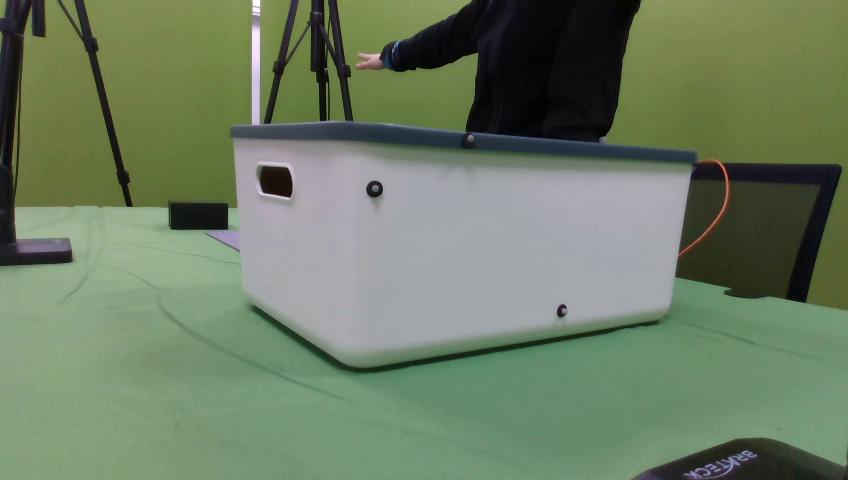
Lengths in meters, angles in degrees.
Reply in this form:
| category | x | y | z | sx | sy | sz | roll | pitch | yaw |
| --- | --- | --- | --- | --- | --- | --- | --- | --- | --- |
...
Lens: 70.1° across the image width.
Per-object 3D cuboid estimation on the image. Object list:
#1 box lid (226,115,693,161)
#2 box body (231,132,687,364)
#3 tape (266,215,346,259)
| category | x | y | z | sx | sy | sz | roll | pitch | yaw |
| --- | --- | --- | --- | --- | --- | --- | --- | --- | --- |
| box lid | 0.031 | -0.086 | 0.554 | 0.373 | 0.015 | 0.262 | -2 | 8 | -33 |
| box body | 0.031 | -0.013 | 0.563 | 0.366 | 0.160 | 0.253 | -3 | 8 | -33 |
| tape | -0.168 | -0.006 | 0.872 | 0.117 | 0.052 | 0.117 | 3 | 7 | 0 |
